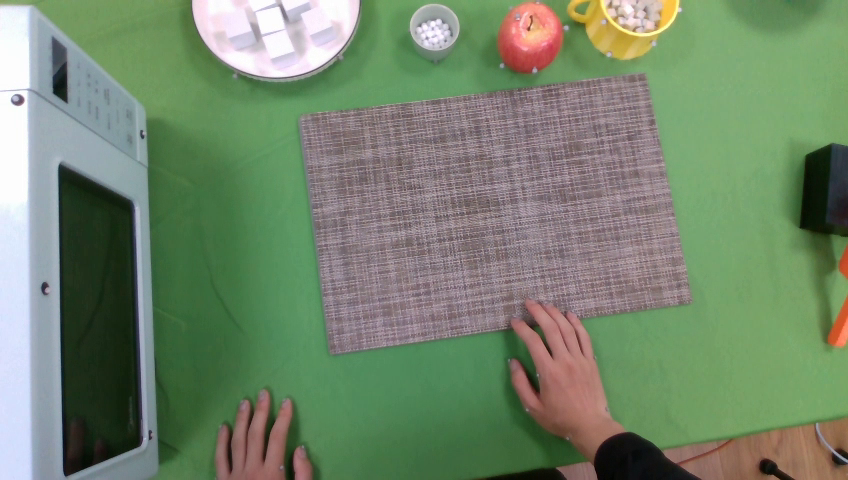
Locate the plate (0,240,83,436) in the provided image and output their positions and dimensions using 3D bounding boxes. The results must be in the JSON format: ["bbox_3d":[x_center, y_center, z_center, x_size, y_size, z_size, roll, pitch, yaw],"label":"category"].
[{"bbox_3d":[-0.460,0.102,0.629,0.209,0.038,0.208,1,83,-4],"label":"plate"}]

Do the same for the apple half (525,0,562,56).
[{"bbox_3d":[0.150,-0.269,0.757,0.033,0.081,0.081,-35,85,-2],"label":"apple half"}]

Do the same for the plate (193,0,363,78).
[{"bbox_3d":[-0.180,-0.299,0.762,0.208,0.039,0.207,0,82,-3],"label":"plate"}]

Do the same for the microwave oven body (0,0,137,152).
[{"bbox_3d":[-0.474,0.038,0.586,0.326,0.260,0.440,-5,83,-4],"label":"microwave oven body"}]

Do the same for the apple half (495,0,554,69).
[{"bbox_3d":[0.118,-0.247,0.753,0.053,0.074,0.081,-34,89,-2],"label":"apple half"}]

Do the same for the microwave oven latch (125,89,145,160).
[{"bbox_3d":[-0.347,-0.135,0.713,0.030,0.029,0.079,-3,83,-4],"label":"microwave oven latch"}]

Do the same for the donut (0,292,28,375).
[{"bbox_3d":[-0.458,0.097,0.617,0.099,0.048,0.099,0,83,-2],"label":"donut"}]

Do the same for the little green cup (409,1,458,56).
[{"bbox_3d":[0.011,-0.265,0.768,0.061,0.039,0.061,0,82,-2],"label":"little green cup"}]

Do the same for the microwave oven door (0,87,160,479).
[{"bbox_3d":[-0.325,0.067,0.584,0.039,0.244,0.354,-5,82,-3],"label":"microwave oven door"}]

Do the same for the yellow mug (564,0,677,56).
[{"bbox_3d":[0.245,-0.296,0.769,0.131,0.064,0.099,3,82,-2],"label":"yellow mug"}]

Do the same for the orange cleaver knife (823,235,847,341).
[{"bbox_3d":[0.524,0.022,0.729,0.012,0.076,0.212,11,114,1],"label":"orange cleaver knife"}]
